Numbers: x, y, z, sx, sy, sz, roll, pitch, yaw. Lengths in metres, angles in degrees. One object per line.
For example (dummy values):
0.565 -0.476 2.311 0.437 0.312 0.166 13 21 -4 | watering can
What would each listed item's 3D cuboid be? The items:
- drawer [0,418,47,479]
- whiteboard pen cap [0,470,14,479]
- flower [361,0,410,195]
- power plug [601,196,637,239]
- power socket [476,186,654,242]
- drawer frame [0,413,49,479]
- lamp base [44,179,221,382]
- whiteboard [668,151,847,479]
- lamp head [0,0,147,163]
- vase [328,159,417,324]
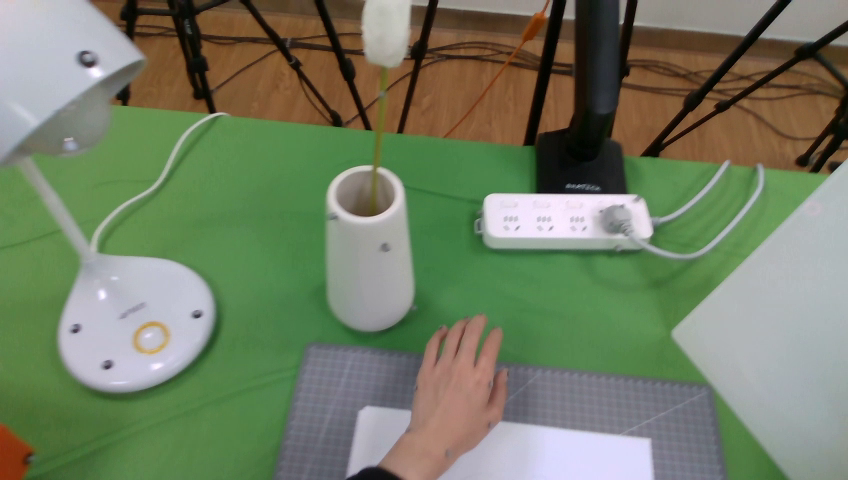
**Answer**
-0.454 0.225 0.476 0.211 0.074 0.193 9 56 3 | drawer
-0.373 0.207 0.519 0.033 0.018 0.018 -4 55 2 | whiteboard pen cap
-0.045 -0.054 0.573 0.038 0.364 0.043 -4 37 -13 | flower
0.234 -0.022 0.738 0.035 0.053 0.072 9 57 4 | power plug
0.181 -0.033 0.771 0.227 0.033 0.071 1 56 -3 | power socket
-0.461 0.227 0.477 0.213 0.083 0.200 10 56 1 | drawer frame
-0.315 0.031 0.611 0.178 0.182 0.160 33 60 22 | lamp base
0.441 0.063 0.590 0.144 0.307 0.215 -12 54 -33 | whiteboard
-0.256 -0.125 0.369 0.123 0.112 0.112 48 58 -17 | lamp head
-0.056 0.007 0.630 0.098 0.201 0.097 1 55 0 | vase
